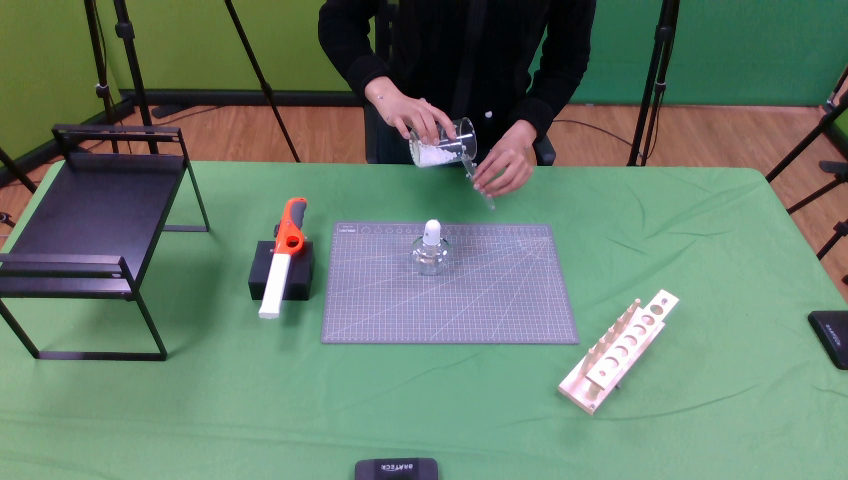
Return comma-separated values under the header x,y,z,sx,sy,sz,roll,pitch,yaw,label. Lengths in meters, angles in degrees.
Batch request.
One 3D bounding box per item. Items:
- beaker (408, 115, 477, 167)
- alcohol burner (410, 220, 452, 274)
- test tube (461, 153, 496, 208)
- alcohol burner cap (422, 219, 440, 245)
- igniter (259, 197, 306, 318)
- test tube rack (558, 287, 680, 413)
x,y,z,sx,sy,sz,roll,pitch,yaw,label
0.029,-0.163,1.024,0.100,0.084,0.073,-12,48,-14,beaker
0.013,0.008,1.120,0.078,0.120,0.077,1,48,-1,alcohol burner
0.103,-0.106,1.117,0.017,0.151,0.017,-16,50,19,test tube
0.014,-0.018,1.094,0.034,0.048,0.033,5,44,-5,alcohol burner cap
-0.252,0.021,1.087,0.057,0.025,0.275,4,48,-2,igniter
0.327,0.170,1.009,0.066,0.085,0.242,36,54,27,test tube rack
